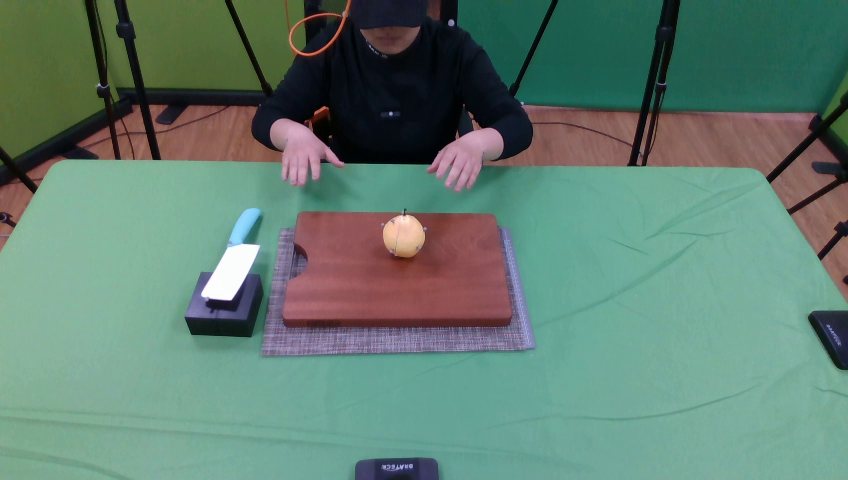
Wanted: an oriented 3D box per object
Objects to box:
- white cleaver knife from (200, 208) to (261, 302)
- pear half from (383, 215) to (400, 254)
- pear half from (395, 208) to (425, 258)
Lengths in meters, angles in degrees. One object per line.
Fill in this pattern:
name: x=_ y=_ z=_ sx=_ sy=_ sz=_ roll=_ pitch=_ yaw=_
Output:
white cleaver knife: x=-0.338 y=0.024 z=1.116 sx=0.066 sy=0.021 sz=0.285 roll=7 pitch=35 yaw=-3
pear half: x=-0.061 y=-0.013 z=1.119 sx=0.031 sy=0.088 sz=0.070 roll=0 pitch=54 yaw=-4
pear half: x=-0.025 y=-0.018 z=1.113 sx=0.056 sy=0.110 sz=0.076 roll=0 pitch=50 yaw=-3
